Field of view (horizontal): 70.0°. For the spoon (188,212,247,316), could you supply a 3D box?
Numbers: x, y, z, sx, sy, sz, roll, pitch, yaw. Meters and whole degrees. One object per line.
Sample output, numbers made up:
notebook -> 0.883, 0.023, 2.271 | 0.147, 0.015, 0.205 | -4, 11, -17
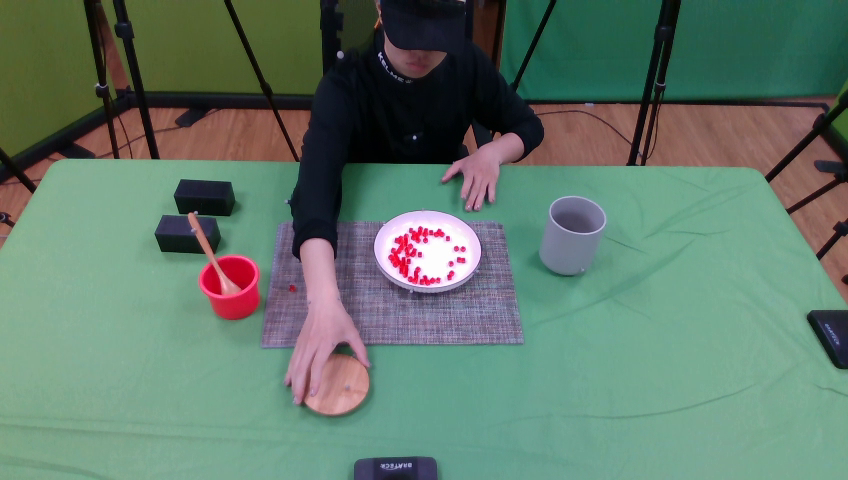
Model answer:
spoon -> -0.358, 0.042, 1.036 | 0.041, 0.021, 0.194 | -28, 93, -22

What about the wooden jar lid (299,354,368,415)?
wooden jar lid -> -0.143, 0.231, 0.964 | 0.108, 0.021, 0.107 | 3, 45, -2

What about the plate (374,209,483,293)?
plate -> 0.008, 0.024, 1.158 | 0.208, 0.039, 0.206 | 2, 46, -2

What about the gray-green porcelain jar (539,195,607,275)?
gray-green porcelain jar -> 0.278, -0.004, 1.148 | 0.106, 0.127, 0.105 | 2, 46, -2
